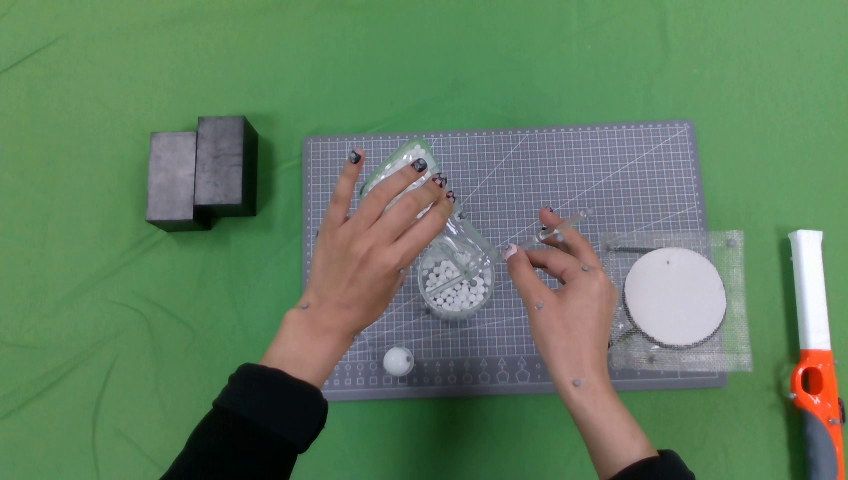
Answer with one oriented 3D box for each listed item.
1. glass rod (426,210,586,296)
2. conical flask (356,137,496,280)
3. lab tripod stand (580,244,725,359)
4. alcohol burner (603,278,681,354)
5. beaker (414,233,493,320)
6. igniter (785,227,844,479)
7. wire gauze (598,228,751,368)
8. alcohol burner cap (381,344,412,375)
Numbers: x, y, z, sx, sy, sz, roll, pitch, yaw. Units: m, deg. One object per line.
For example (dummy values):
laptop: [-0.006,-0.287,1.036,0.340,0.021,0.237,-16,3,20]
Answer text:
glass rod: [0.062,0.016,0.525,0.008,0.199,0.008,18,57,-31]
conical flask: [0.007,-0.022,0.513,0.075,0.075,0.122,-45,93,-8]
lab tripod stand: [0.218,0.065,0.591,0.148,0.132,0.148,0,80,1]
alcohol burner: [0.220,0.074,0.600,0.078,0.119,0.077,-1,79,4]
beaker: [0.030,0.041,0.617,0.074,0.100,0.083,21,79,5]
igniter: [0.406,0.122,0.633,0.057,0.025,0.275,4,79,-9]
wire gauze: [0.217,0.049,0.526,0.125,0.011,0.121,0,80,2]
alcohol burner cap: [-0.030,0.124,0.630,0.034,0.048,0.033,0,79,1]
